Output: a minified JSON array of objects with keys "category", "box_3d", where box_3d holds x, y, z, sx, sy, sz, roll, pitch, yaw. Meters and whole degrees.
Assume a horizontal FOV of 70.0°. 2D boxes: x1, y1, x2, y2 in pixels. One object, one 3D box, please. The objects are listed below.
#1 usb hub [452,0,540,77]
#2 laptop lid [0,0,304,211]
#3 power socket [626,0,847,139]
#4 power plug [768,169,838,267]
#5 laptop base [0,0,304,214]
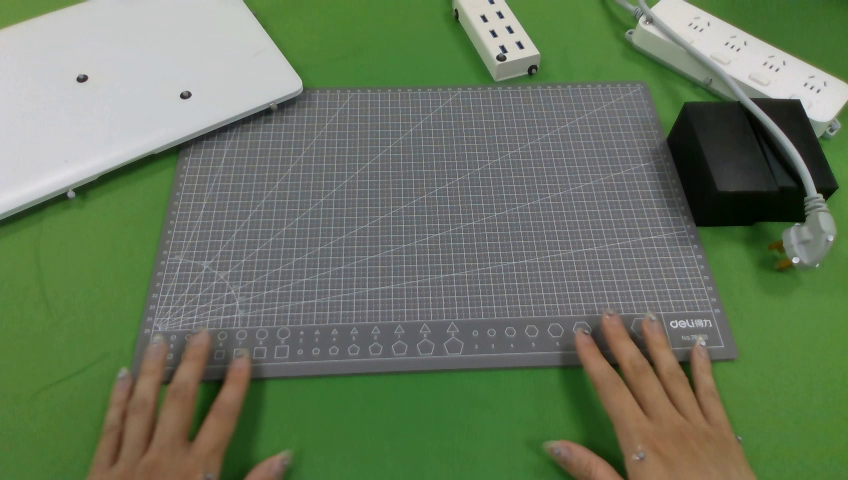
[{"category":"usb hub","box_3d":[0.073,-0.225,0.637,0.049,0.025,0.124,-17,59,-11]},{"category":"laptop lid","box_3d":[-0.321,-0.156,0.576,0.357,0.013,0.239,-26,63,-17]},{"category":"power socket","box_3d":[0.314,-0.179,0.609,0.225,0.033,0.072,39,64,22]},{"category":"power plug","box_3d":[0.304,-0.012,0.491,0.035,0.052,0.072,22,60,-21]},{"category":"laptop base","box_3d":[-0.322,-0.151,0.587,0.354,0.023,0.233,-28,65,-17]}]
